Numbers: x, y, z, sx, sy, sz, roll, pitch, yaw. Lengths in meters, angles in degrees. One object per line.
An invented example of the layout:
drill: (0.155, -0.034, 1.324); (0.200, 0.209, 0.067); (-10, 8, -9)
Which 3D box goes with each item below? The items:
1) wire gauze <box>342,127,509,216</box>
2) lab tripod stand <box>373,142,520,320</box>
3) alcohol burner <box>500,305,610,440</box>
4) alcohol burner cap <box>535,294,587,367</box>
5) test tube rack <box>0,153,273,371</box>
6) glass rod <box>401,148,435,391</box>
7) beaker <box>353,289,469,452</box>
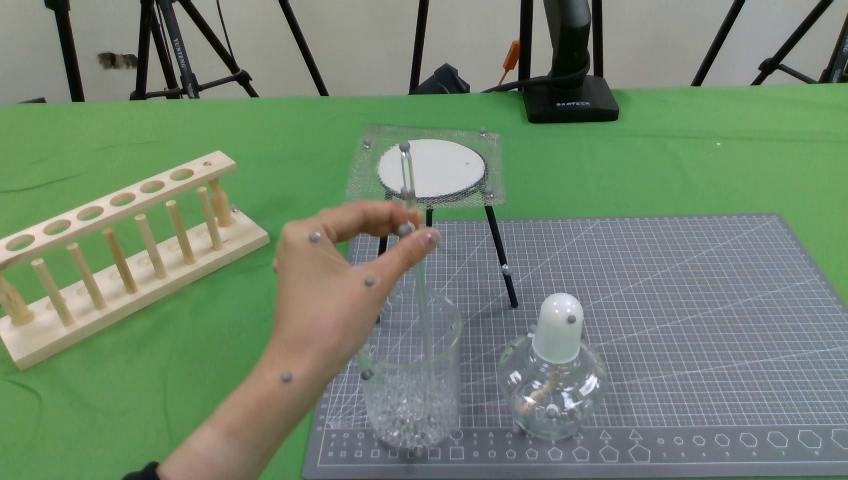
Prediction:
wire gauze: (0.004, -0.058, 0.481); (0.121, 0.011, 0.124); (1, 39, 4)
lab tripod stand: (0.016, -0.007, 0.525); (0.148, 0.132, 0.147); (-1, 38, 1)
alcohol burner: (0.092, 0.084, 0.421); (0.078, 0.120, 0.077); (-1, 41, 2)
alcohol burner cap: (0.092, 0.056, 0.398); (0.034, 0.048, 0.033); (0, 40, 0)
test tube rack: (-0.270, 0.011, 0.564); (0.242, 0.086, 0.066); (-31, 46, -31)
glass rod: (-0.003, 0.031, 0.391); (0.008, 0.201, 0.008); (-3, 37, 3)
beaker: (-0.010, 0.093, 0.428); (0.074, 0.101, 0.083); (-33, 47, -32)
